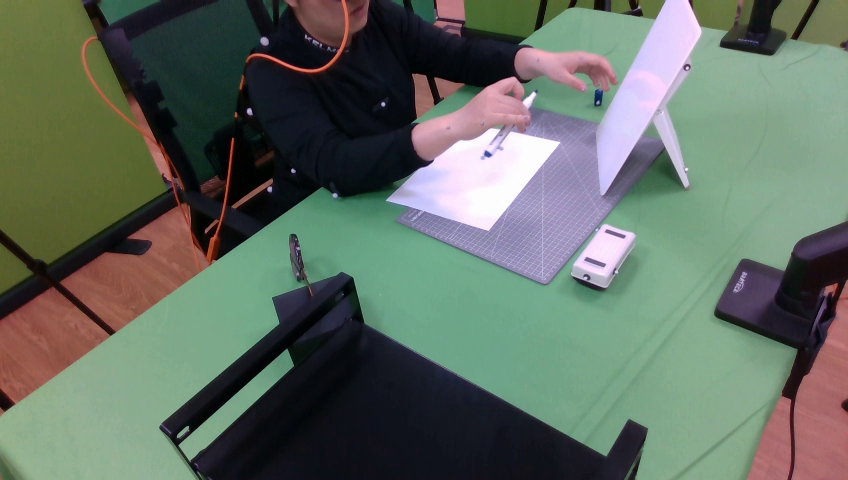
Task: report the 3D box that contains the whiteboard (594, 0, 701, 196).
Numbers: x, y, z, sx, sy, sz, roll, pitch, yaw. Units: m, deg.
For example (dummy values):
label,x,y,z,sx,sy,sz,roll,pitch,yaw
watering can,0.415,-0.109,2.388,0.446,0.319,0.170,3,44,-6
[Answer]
label,x,y,z,sx,sy,sz,roll,pitch,yaw
whiteboard,0.420,-0.227,1.010,0.144,0.305,0.216,18,42,-2

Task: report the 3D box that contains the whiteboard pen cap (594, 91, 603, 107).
label,x,y,z,sx,sy,sz,roll,pitch,yaw
whiteboard pen cap,0.364,-0.294,1.262,0.018,0.033,0.018,-6,41,6

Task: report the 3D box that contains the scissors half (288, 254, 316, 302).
label,x,y,z,sx,sy,sz,roll,pitch,yaw
scissors half,-0.178,0.058,0.894,0.013,0.040,0.174,-16,21,-17

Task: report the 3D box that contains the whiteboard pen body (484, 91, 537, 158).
label,x,y,z,sx,sy,sz,roll,pitch,yaw
whiteboard pen body,0.144,-0.191,0.988,0.017,0.017,0.141,32,81,37

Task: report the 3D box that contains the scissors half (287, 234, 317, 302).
label,x,y,z,sx,sy,sz,roll,pitch,yaw
scissors half,-0.179,0.040,0.885,0.013,0.040,0.173,-11,36,-20

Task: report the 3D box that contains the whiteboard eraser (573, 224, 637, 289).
label,x,y,z,sx,sy,sz,roll,pitch,yaw
whiteboard eraser,0.267,0.025,0.891,0.055,0.042,0.113,19,47,31
